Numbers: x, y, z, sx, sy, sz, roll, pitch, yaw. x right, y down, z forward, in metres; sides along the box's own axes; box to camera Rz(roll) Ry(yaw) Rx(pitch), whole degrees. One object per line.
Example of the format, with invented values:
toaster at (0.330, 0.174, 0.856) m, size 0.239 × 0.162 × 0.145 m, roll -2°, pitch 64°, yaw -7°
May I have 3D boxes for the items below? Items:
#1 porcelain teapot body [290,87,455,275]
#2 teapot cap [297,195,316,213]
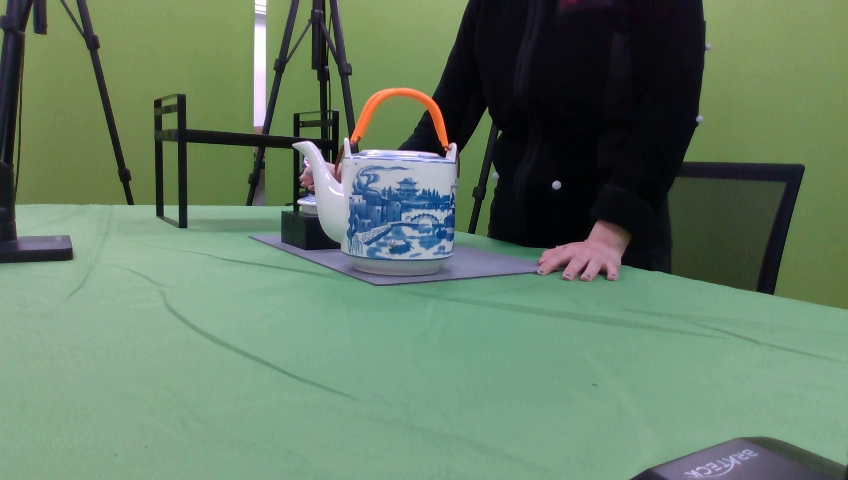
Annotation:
porcelain teapot body at (-0.061, -0.076, 0.753) m, size 0.206 × 0.225 × 0.145 m, roll 0°, pitch 8°, yaw -12°
teapot cap at (-0.157, -0.065, 0.950) m, size 0.085 × 0.044 × 0.085 m, roll 0°, pitch 10°, yaw 0°
